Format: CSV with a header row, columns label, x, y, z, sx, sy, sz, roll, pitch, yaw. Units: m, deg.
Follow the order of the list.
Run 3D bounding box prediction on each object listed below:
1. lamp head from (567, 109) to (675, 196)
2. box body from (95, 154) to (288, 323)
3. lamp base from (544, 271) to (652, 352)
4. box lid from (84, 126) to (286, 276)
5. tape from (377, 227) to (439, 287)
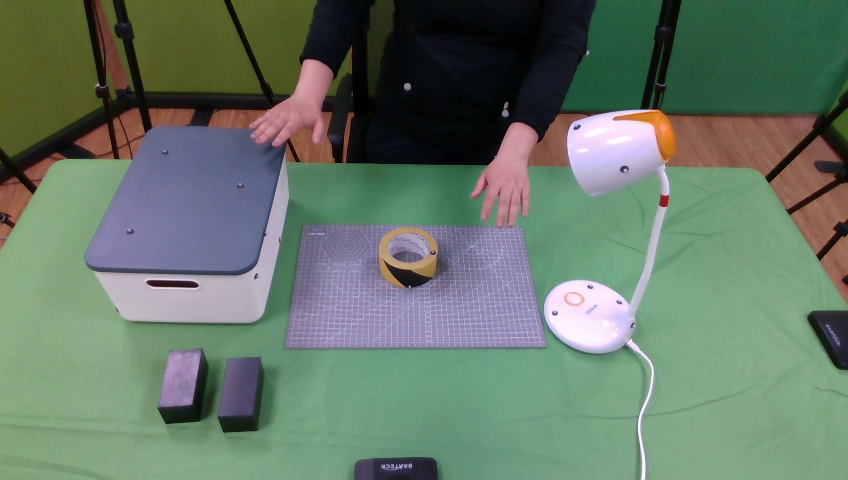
label,x,y,z,sx,sy,sz,roll,pitch,yaw
lamp head,0.272,-0.123,0.818,0.122,0.113,0.112,-9,35,37
box body,-0.396,-0.031,1.100,0.254,0.161,0.361,1,46,-3
lamp base,0.310,0.086,1.029,0.178,0.181,0.160,32,52,21
box lid,-0.393,-0.081,1.046,0.263,0.015,0.369,2,46,-3
tape,-0.031,0.032,1.140,0.117,0.053,0.116,2,46,-2
